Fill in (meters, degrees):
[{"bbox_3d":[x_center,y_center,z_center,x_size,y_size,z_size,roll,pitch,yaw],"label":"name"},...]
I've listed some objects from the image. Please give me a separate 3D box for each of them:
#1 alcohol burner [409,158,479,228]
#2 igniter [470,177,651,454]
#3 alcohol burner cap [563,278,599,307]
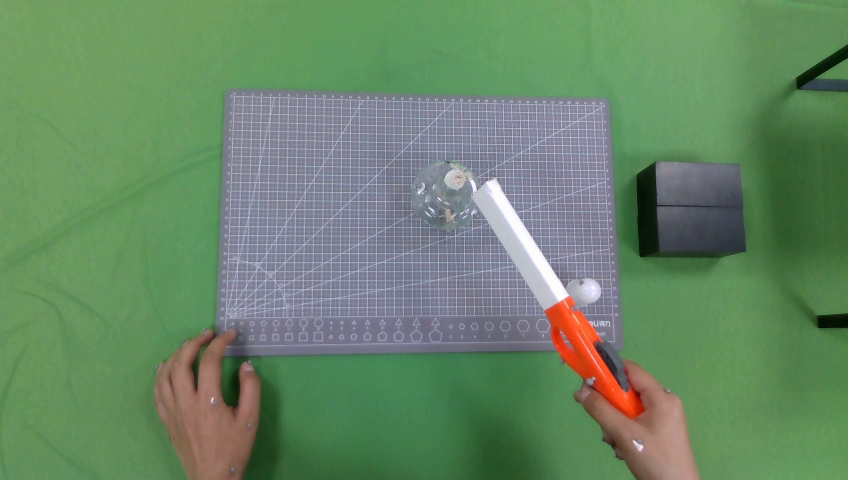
[{"bbox_3d":[0.024,-0.053,0.639,0.078,0.119,0.077,1,81,-7],"label":"alcohol burner"},{"bbox_3d":[0.123,0.067,0.549,0.025,0.057,0.275,-24,79,-35],"label":"igniter"},{"bbox_3d":[0.176,0.057,0.673,0.034,0.048,0.033,1,80,-4],"label":"alcohol burner cap"}]
